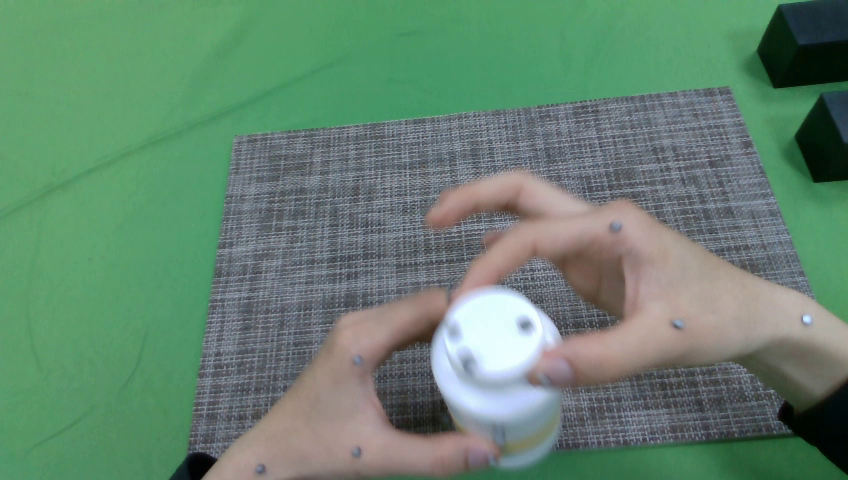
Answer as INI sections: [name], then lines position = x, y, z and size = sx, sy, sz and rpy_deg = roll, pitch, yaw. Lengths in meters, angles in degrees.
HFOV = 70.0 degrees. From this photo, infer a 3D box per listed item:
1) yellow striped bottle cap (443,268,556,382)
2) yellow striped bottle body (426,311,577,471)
[yellow striped bottle cap]
position = 0.030, 0.034, 0.244
size = 0.044, 0.019, 0.044
rpy_deg = 0, 58, 1
[yellow striped bottle body]
position = 0.040, 0.072, 0.310
size = 0.062, 0.121, 0.062
rpy_deg = -10, 54, 15
